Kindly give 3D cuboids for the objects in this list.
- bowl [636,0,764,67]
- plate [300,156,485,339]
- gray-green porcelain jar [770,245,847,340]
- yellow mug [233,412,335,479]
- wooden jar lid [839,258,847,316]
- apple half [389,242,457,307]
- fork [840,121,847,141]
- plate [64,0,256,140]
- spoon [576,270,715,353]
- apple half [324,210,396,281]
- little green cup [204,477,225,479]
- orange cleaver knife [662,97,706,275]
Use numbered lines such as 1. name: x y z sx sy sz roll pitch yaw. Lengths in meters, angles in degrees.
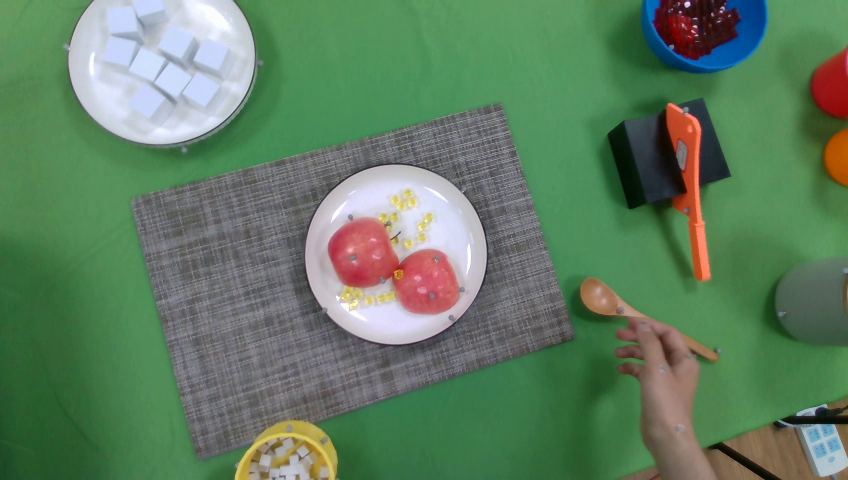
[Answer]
1. bowl: 0.322 -0.274 0.741 0.151 0.077 0.151 1 84 -5
2. plate: -0.036 0.009 0.693 0.209 0.038 0.208 1 84 -6
3. gray-green porcelain jar: 0.475 0.061 0.694 0.106 0.126 0.105 1 83 -5
4. yellow mug: -0.145 0.256 0.645 0.100 0.064 0.130 -4 88 -7
5. wooden jar lid: 0.481 0.053 0.631 0.108 0.021 0.108 0 83 -3
6. apple half: -0.001 0.040 0.687 0.081 0.033 0.081 1 81 -3
7. fork: 0.550 -0.081 0.704 0.028 0.019 0.205 -1 40 -5
8. plate: -0.298 -0.213 0.698 0.208 0.039 0.207 1 84 -5
9. spoon: 0.265 0.090 0.724 0.194 0.022 0.041 27 66 -1
10. apple half: -0.073 0.006 0.674 0.075 0.053 0.080 -18 86 -5
11. little green cup: -0.230 0.285 0.647 0.061 0.038 0.061 0 85 -4
12. orange cleaver knife: 0.305 -0.062 0.714 0.012 0.076 0.212 -15 109 -3
